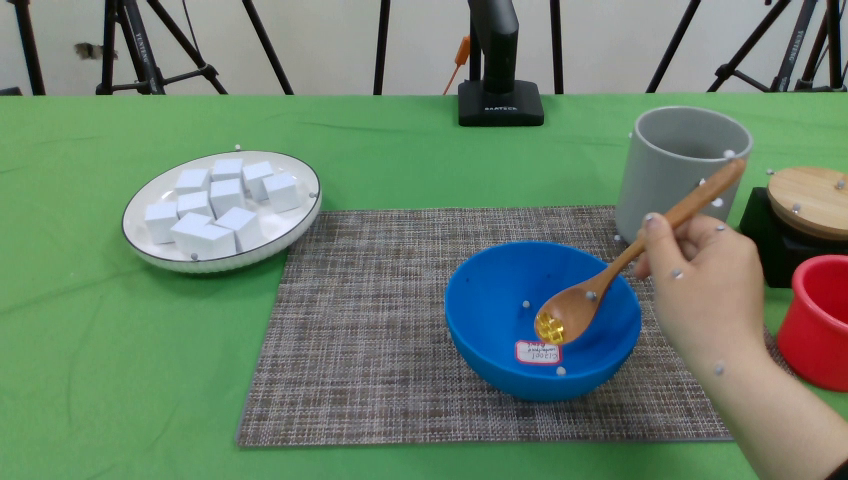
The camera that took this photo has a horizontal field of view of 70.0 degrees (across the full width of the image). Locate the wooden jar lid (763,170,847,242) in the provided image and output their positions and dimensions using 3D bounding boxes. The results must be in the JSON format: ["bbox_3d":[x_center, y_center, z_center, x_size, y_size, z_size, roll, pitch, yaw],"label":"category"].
[{"bbox_3d":[0.389,-0.033,0.593,0.108,0.021,0.107,-1,39,1],"label":"wooden jar lid"}]

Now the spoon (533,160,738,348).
[{"bbox_3d":[0.148,0.015,0.441,0.022,0.194,0.041,13,40,-35],"label":"spoon"}]

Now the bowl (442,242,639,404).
[{"bbox_3d":[0.089,0.078,0.489,0.151,0.077,0.150,0,39,1],"label":"bowl"}]

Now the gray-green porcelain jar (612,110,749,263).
[{"bbox_3d":[0.249,-0.049,0.605,0.106,0.127,0.105,-1,39,1],"label":"gray-green porcelain jar"}]

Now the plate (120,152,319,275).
[{"bbox_3d":[-0.217,-0.029,0.663,0.209,0.038,0.207,-1,39,1],"label":"plate"}]
